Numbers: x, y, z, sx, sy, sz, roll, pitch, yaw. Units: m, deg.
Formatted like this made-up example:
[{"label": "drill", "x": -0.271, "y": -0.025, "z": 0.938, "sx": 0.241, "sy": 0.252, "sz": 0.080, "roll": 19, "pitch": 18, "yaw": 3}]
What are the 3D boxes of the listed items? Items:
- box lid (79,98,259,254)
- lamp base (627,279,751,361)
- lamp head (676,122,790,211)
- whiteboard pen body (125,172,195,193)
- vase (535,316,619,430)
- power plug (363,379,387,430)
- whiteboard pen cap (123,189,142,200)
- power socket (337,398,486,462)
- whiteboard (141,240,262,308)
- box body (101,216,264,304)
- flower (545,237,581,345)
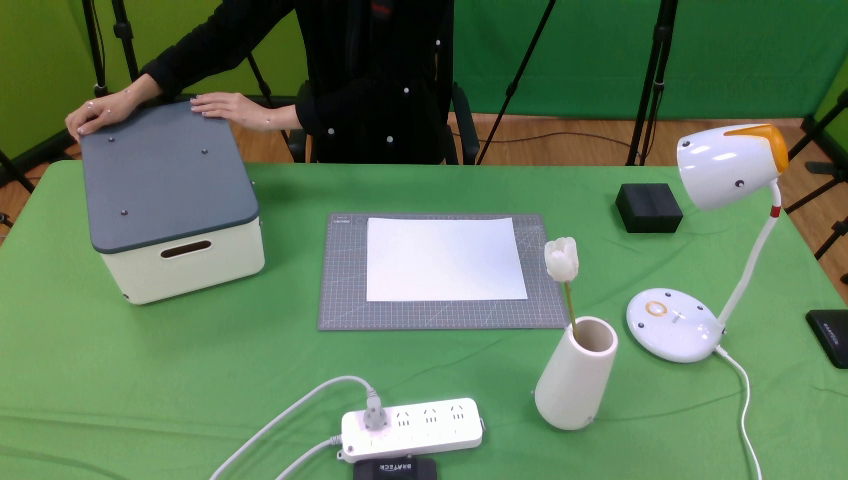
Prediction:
[{"label": "box lid", "x": -0.461, "y": -0.129, "z": 1.079, "sx": 0.264, "sy": 0.015, "sz": 0.369, "roll": -15, "pitch": 51, "yaw": -19}, {"label": "lamp base", "x": 0.460, "y": 0.100, "z": 1.027, "sx": 0.178, "sy": 0.181, "sz": 0.160, "roll": 27, "pitch": 51, "yaw": 17}, {"label": "lamp head", "x": 0.423, "y": -0.104, "z": 0.819, "sx": 0.122, "sy": 0.113, "sz": 0.112, "roll": -13, "pitch": 33, "yaw": 40}, {"label": "whiteboard pen body", "x": -0.553, "y": -0.119, "z": 1.270, "sx": 0.141, "sy": 0.017, "sz": 0.017, "roll": -18, "pitch": 50, "yaw": -16}, {"label": "vase", "x": 0.229, "y": 0.200, "z": 0.900, "sx": 0.098, "sy": 0.201, "sz": 0.097, "roll": 3, "pitch": 46, "yaw": -3}, {"label": "power plug", "x": -0.072, "y": 0.252, "z": 0.911, "sx": 0.035, "sy": 0.053, "sz": 0.072, "roll": 3, "pitch": 40, "yaw": 0}, {"label": "whiteboard pen cap", "x": -0.591, "y": -0.092, "z": 1.231, "sx": 0.033, "sy": 0.018, "sz": 0.018, "roll": -14, "pitch": 49, "yaw": -17}, {"label": "power socket", "x": -0.018, "y": 0.285, "z": 0.914, "sx": 0.227, "sy": 0.033, "sz": 0.071, "roll": -4, "pitch": 46, "yaw": -8}, {"label": "whiteboard", "x": -0.464, "y": -0.059, "z": 1.137, "sx": 0.217, "sy": 0.144, "sz": 0.303, "roll": -19, "pitch": 51, "yaw": -17}, {"label": "box body", "x": -0.465, "y": -0.077, "z": 1.137, "sx": 0.254, "sy": 0.161, "sz": 0.361, "roll": -16, "pitch": 50, "yaw": -19}, {"label": "flower", "x": 0.213, "y": 0.137, "z": 0.846, "sx": 0.038, "sy": 0.364, "sz": 0.044, "roll": 21, "pitch": 55, "yaw": 40}]
